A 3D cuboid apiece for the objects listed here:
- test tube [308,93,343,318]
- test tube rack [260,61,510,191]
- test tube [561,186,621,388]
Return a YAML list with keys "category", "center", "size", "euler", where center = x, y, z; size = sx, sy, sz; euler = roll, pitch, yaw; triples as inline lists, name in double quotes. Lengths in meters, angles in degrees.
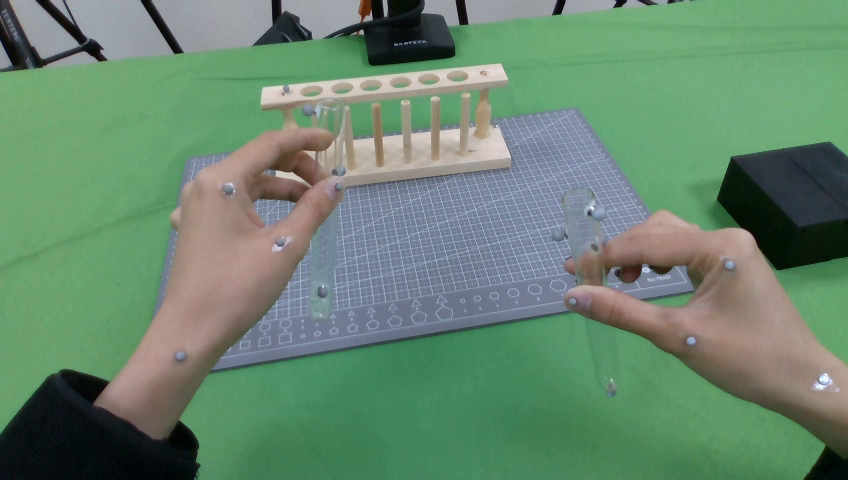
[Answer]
- category: "test tube"
  center: [-0.060, -0.014, 0.362]
  size: [0.017, 0.151, 0.017]
  euler: [6, 32, -4]
- category: "test tube rack"
  center: [-0.036, -0.117, 0.619]
  size: [0.242, 0.086, 0.066]
  euler: [-7, 43, -4]
- category: "test tube"
  center: [0.092, 0.033, 0.326]
  size: [0.017, 0.152, 0.017]
  euler: [-13, 40, 11]
